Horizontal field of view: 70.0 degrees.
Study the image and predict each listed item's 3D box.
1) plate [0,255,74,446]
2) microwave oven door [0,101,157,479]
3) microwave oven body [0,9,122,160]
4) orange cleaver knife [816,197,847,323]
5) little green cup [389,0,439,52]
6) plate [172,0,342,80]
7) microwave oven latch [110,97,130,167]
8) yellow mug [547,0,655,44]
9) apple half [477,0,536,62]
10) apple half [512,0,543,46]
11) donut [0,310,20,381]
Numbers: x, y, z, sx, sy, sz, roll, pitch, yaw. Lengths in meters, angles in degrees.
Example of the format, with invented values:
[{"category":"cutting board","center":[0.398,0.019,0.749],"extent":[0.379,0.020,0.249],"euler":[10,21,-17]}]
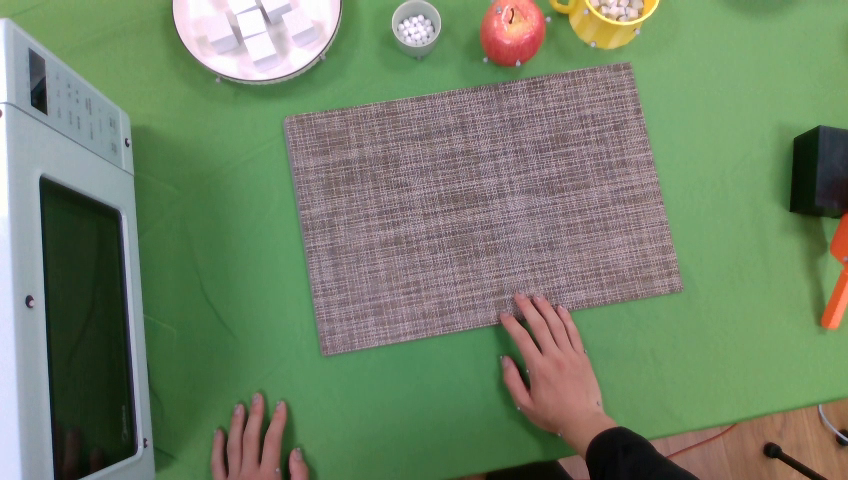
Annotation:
[{"category":"plate","center":[-0.470,0.116,0.632],"extent":[0.209,0.038,0.208],"euler":[0,83,-3]},{"category":"microwave oven door","center":[-0.337,0.076,0.586],"extent":[0.039,0.244,0.354],"euler":[-7,83,-3]},{"category":"microwave oven body","center":[-0.487,0.053,0.588],"extent":[0.326,0.260,0.440],"euler":[-7,84,-4]},{"category":"orange cleaver knife","center":[0.511,-0.002,0.726],"extent":[0.012,0.076,0.212],"euler":[9,114,1]},{"category":"little green cup","center":[-0.012,-0.270,0.764],"extent":[0.061,0.039,0.061],"euler":[0,82,-2]},{"category":"plate","center":[-0.205,-0.296,0.760],"extent":[0.208,0.039,0.207],"euler":[0,83,-2]},{"category":"microwave oven latch","center":[-0.366,-0.126,0.713],"extent":[0.030,0.029,0.079],"euler":[-5,84,-3]},{"category":"yellow mug","center":[0.220,-0.309,0.765],"extent":[0.131,0.064,0.099],"euler":[1,82,-1]},{"category":"apple half","center":[0.094,-0.255,0.750],"extent":[0.053,0.074,0.081],"euler":[-37,89,-2]},{"category":"apple half","center":[0.126,-0.279,0.753],"extent":[0.033,0.081,0.081],"euler":[-37,85,-2]},{"category":"donut","center":[-0.468,0.111,0.620],"extent":[0.099,0.048,0.099],"euler":[0,84,-1]}]
